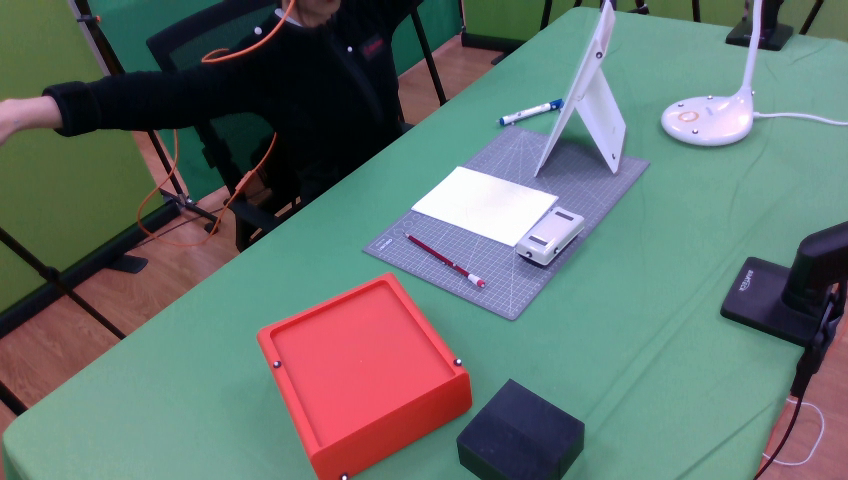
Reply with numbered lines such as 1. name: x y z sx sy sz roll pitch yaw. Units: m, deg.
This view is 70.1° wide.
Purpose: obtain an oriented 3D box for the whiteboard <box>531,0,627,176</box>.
1. whiteboard: 0.322 -0.259 1.050 0.143 0.306 0.217 22 46 6

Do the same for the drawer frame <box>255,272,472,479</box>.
1. drawer frame: -0.079 0.161 0.760 0.202 0.083 0.211 -24 43 -18

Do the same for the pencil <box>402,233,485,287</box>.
1. pencil: 0.026 0.028 0.949 0.012 0.012 0.192 -34 44 -26

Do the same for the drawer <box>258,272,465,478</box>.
1. drawer: -0.082 0.160 0.764 0.195 0.073 0.210 -23 43 -17

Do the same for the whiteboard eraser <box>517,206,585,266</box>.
1. whiteboard eraser: 0.196 -0.005 0.931 0.055 0.042 0.113 25 51 35

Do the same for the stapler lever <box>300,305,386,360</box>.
1. stapler lever: -0.107 0.121 0.799 0.118 0.040 0.026 -19 37 -13

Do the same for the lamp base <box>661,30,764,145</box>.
1. lamp base: 0.535 -0.287 1.096 0.179 0.181 0.159 -10 40 -4

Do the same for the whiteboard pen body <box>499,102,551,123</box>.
1. whiteboard pen body: 0.221 -0.268 1.257 0.141 0.017 0.017 -19 41 -13

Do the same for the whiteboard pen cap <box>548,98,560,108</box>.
1. whiteboard pen cap: 0.275 -0.287 1.268 0.033 0.018 0.018 -17 41 -14

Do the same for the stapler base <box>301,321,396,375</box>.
1. stapler base: -0.103 0.138 0.814 0.131 0.024 0.041 -21 38 -12
